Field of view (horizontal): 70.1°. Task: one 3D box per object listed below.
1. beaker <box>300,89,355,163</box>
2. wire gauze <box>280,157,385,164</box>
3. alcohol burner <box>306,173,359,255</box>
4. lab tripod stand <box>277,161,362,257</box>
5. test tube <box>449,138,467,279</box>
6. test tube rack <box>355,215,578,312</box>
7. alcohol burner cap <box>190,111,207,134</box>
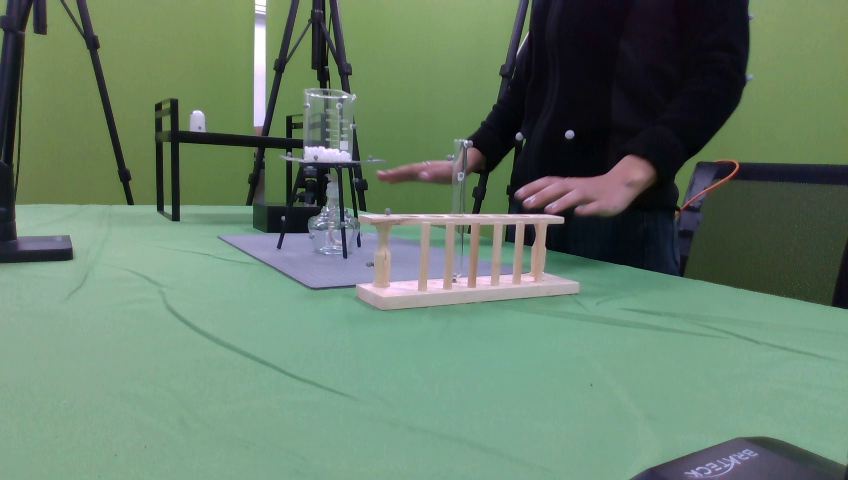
[{"bbox_3d":[-0.136,-0.161,0.867,0.083,0.100,0.074,5,8,24],"label":"beaker"},{"bbox_3d":[-0.134,-0.113,0.875,0.122,0.011,0.124,-1,6,-30],"label":"wire gauze"},{"bbox_3d":[-0.133,-0.038,0.883,0.078,0.119,0.078,1,6,0],"label":"alcohol burner"},{"bbox_3d":[-0.143,-0.049,0.884,0.148,0.131,0.148,1,9,0],"label":"lab tripod stand"},{"bbox_3d":[0.035,-0.033,0.645,0.017,0.150,0.017,3,4,0],"label":"test tube"},{"bbox_3d":[0.053,0.018,0.640,0.243,0.085,0.066,-1,8,-29],"label":"test tube rack"},{"bbox_3d":[-0.469,-0.244,1.257,0.034,0.048,0.034,2,7,0],"label":"alcohol burner cap"}]
